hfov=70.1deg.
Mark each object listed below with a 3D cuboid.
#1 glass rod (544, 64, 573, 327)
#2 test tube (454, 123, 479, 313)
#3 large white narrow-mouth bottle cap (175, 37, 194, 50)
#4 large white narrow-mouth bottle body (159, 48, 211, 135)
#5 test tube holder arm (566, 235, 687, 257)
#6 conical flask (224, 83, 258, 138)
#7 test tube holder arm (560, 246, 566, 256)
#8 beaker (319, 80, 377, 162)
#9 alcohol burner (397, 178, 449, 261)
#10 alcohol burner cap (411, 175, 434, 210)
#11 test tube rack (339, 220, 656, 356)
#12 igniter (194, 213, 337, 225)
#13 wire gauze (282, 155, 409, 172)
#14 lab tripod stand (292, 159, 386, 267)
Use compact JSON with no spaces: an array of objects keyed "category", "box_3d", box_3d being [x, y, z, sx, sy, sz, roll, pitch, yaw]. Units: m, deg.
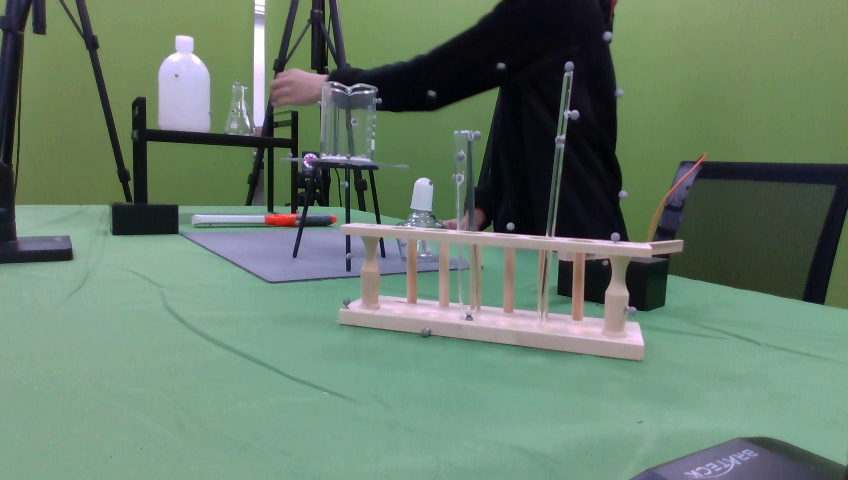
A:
[{"category":"glass rod","box_3d":[0.101,-0.028,0.453,0.008,0.199,0.008,2,13,0]},{"category":"test tube","box_3d":[0.034,-0.016,0.476,0.017,0.150,0.017,-2,9,1]},{"category":"large white narrow-mouth bottle cap","box_3d":[-0.501,-0.410,1.264,0.038,0.024,0.037,2,7,0]},{"category":"large white narrow-mouth bottle body","box_3d":[-0.503,-0.323,1.275,0.102,0.194,0.102,2,7,0]},{"category":"test tube holder arm","box_3d":[0.215,0.006,0.630,0.179,0.015,0.013,-3,9,-31]},{"category":"conical flask","box_3d":[-0.422,-0.299,1.395,0.075,0.122,0.075,2,7,0]},{"category":"test tube holder arm","box_3d":[0.173,0.007,0.612,0.088,0.015,0.010,-3,9,-30]},{"category":"beaker","box_3d":[-0.098,-0.150,0.777,0.074,0.100,0.084,1,7,-8]},{"category":"alcohol burner","box_3d":[-0.002,-0.031,0.846,0.078,0.119,0.078,0,6,0]},{"category":"alcohol burner cap","box_3d":[0.000,-0.067,0.842,0.034,0.048,0.034,8,8,-1]},{"category":"test tube rack","box_3d":[0.056,0.032,0.495,0.242,0.085,0.067,4,7,15]},{"category":"igniter","box_3d":[-0.306,-0.042,1.196,0.278,0.025,0.057,-2,-2,-31]},{"category":"wire gauze","box_3d":[-0.104,-0.103,0.784,0.126,0.011,0.121,1,8,-39]},{"category":"lab tripod stand","box_3d":[-0.104,-0.039,0.797,0.148,0.131,0.148,2,5,0]}]
